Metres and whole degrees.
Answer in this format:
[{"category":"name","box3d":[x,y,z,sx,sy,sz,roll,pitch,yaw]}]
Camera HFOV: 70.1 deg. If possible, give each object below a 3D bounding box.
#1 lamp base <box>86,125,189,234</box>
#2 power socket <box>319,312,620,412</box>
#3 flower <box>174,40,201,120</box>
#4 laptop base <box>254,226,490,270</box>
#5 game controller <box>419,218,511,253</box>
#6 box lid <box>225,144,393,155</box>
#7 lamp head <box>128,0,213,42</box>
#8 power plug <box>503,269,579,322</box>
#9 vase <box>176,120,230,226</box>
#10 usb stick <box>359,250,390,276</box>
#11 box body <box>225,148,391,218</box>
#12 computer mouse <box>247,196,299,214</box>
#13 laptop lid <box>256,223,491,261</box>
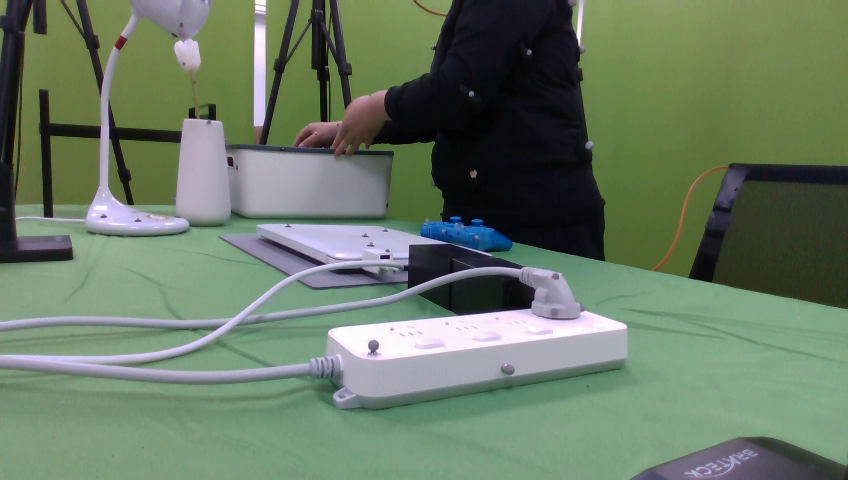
[{"category":"lamp base","box3d":[-0.497,-0.105,1.027,0.179,0.180,0.160,1,7,3]},{"category":"power socket","box3d":[0.037,0.075,0.409,0.228,0.032,0.072,-2,8,-29]},{"category":"flower","box3d":[-0.430,-0.211,1.165,0.044,0.361,0.038,-10,-5,-24]},{"category":"laptop base","box3d":[-0.095,0.011,0.912,0.237,0.023,0.352,3,6,-32]},{"category":"game controller","box3d":[0.063,-0.009,1.028,0.154,0.051,0.097,9,15,43]},{"category":"box lid","box3d":[-0.287,-0.217,1.464,0.373,0.015,0.262,-2,9,-28]},{"category":"lamp head","box3d":[-0.423,-0.394,0.980,0.123,0.112,0.112,20,7,-3]},{"category":"power plug","box3d":[0.091,0.051,0.469,0.035,0.052,0.072,0,6,-18]},{"category":"vase","box3d":[-0.425,-0.128,1.159,0.098,0.200,0.098,2,9,0]},{"category":"usb stick","box3d":[-0.061,0.026,0.709,0.021,0.027,0.059,-2,3,-29]},{"category":"box body","box3d":[-0.289,-0.143,1.475,0.366,0.160,0.253,-1,9,-29]},{"category":"computer mouse","box3d":[-0.354,-0.082,1.418,0.117,0.041,0.063,-3,10,6]},{"category":"laptop lid","box3d":[-0.092,0.000,0.912,0.243,0.013,0.355,1,7,-30]}]
